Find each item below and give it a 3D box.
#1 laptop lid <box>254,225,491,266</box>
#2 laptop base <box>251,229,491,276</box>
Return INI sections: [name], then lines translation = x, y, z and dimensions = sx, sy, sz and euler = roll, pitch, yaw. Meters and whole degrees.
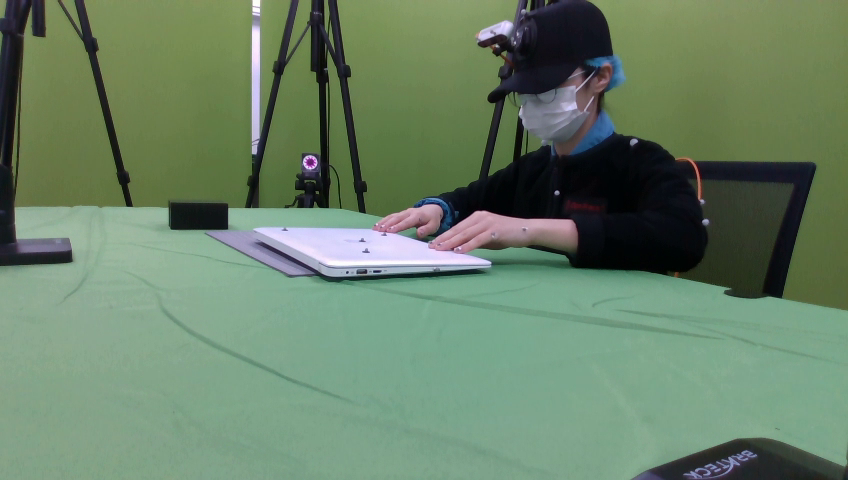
[laptop lid]
translation = -0.093, 0.003, 0.888
dimensions = 0.243, 0.013, 0.355
euler = 1, 7, -28
[laptop base]
translation = -0.095, 0.015, 0.888
dimensions = 0.237, 0.023, 0.352
euler = 2, 7, -30
